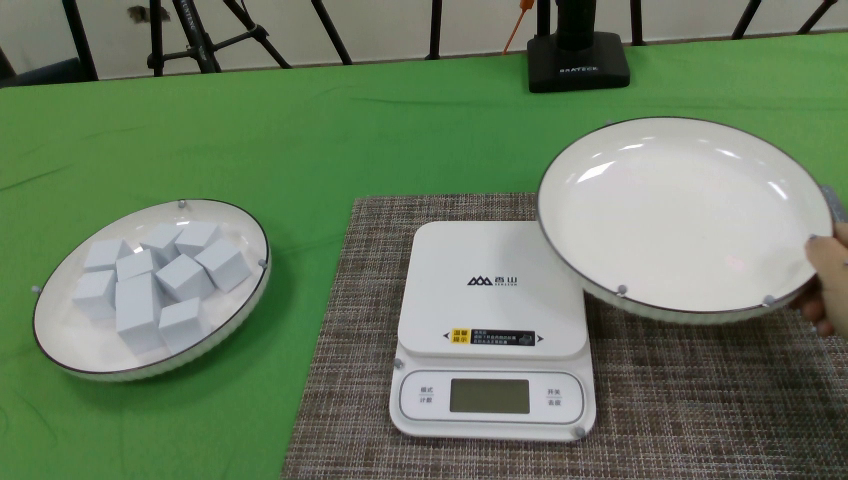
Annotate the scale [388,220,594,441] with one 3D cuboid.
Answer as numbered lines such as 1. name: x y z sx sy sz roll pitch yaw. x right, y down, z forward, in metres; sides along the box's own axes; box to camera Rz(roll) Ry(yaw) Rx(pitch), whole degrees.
1. scale: 0.054 0.061 0.487 0.148 0.032 0.199 -1 46 9

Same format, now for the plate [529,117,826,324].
1. plate: 0.186 -0.017 0.465 0.207 0.039 0.205 -4 47 4

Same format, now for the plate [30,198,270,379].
1. plate: -0.241 0.042 0.553 0.209 0.038 0.207 -4 44 4
